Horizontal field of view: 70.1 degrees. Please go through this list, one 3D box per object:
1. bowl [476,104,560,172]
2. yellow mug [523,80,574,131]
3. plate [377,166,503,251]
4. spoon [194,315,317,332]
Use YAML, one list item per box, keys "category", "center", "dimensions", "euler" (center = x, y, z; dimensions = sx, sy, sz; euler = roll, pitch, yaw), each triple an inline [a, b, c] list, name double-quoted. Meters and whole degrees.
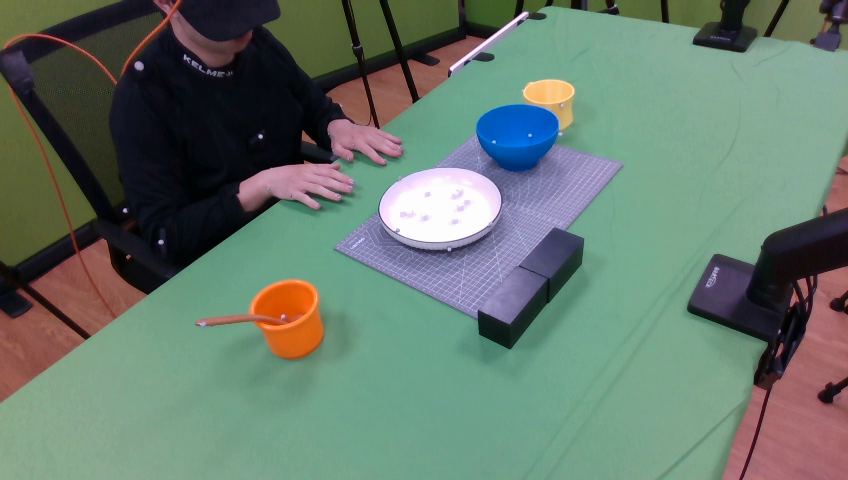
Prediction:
- category: "bowl"
  center: [0.171, -0.178, 1.105]
  dimensions: [0.151, 0.077, 0.150]
  euler: [-4, 40, 4]
- category: "yellow mug"
  center: [0.242, -0.278, 1.224]
  dimensions: [0.100, 0.064, 0.129]
  euler: [-24, 42, -18]
- category: "plate"
  center: [0.027, -0.050, 1.007]
  dimensions: [0.209, 0.038, 0.208]
  euler: [-4, 41, 4]
- category: "spoon"
  center: [-0.212, 0.105, 0.780]
  dimensions: [0.041, 0.195, 0.021]
  euler: [19, 91, 34]
